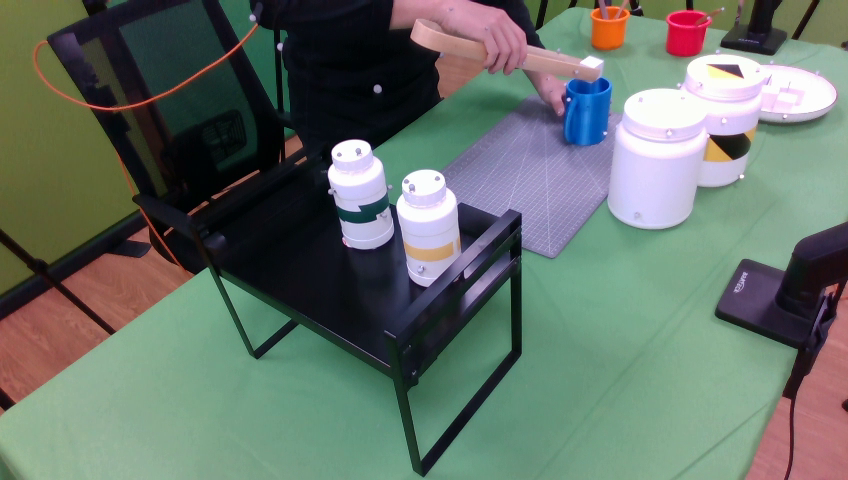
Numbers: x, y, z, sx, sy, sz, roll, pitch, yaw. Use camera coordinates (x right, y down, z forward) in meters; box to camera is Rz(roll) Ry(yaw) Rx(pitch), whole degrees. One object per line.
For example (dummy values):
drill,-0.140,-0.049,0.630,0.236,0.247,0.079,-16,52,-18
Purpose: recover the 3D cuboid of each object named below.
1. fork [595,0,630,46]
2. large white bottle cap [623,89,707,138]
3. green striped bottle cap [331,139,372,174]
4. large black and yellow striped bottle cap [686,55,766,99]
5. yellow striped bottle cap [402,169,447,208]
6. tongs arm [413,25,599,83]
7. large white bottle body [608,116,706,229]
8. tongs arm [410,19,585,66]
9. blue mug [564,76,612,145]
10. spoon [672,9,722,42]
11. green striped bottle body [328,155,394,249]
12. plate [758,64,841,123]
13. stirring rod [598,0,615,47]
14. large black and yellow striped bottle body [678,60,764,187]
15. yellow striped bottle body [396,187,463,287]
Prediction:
fork,0.480,-0.556,1.453,0.028,0.019,0.207,41,103,40
large white bottle cap,0.352,-0.187,0.886,0.115,0.018,0.114,-4,41,4
green striped bottle cap,-0.080,-0.092,0.665,0.044,0.020,0.044,-3,40,3
large black and yellow striped bottle cap,0.474,-0.258,0.952,0.115,0.019,0.114,-5,41,5
yellow striped bottle cap,0.000,-0.052,0.605,0.044,0.019,0.044,-4,42,4
tongs arm,0.151,-0.291,0.968,0.391,0.028,0.028,-1,42,-36
large white bottle body,0.361,-0.123,0.942,0.130,0.185,0.130,-5,41,5
tongs arm,0.139,-0.306,0.984,0.388,0.026,0.050,2,37,-33
blue mug,0.299,-0.238,1.142,0.081,0.106,0.117,28,53,34
spoon,0.606,-0.476,1.345,0.042,0.021,0.193,-6,-3,-2
green striped bottle body,-0.073,-0.053,0.699,0.063,0.120,0.063,-4,41,4
plate,0.694,-0.283,1.189,0.207,0.039,0.206,-4,40,4
stirring rod,0.437,-0.551,1.462,0.014,0.006,0.175,-11,83,1
large black and yellow striped bottle body,0.482,-0.196,1.008,0.131,0.185,0.130,-4,41,4
yellow striped bottle body,0.006,-0.013,0.638,0.063,0.121,0.062,-5,41,4
